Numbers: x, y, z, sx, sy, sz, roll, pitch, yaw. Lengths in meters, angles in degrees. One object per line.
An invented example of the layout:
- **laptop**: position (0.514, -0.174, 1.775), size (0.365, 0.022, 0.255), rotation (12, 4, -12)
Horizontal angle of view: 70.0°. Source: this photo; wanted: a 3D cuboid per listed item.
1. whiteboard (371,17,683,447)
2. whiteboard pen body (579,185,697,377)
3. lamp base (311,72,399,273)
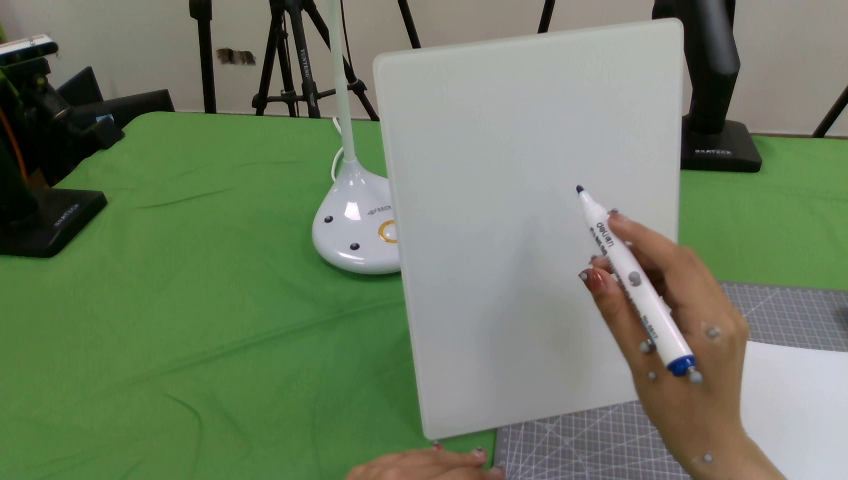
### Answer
- **whiteboard**: position (0.080, -0.014, 0.514), size (0.217, 0.307, 0.143), rotation (-9, 20, -6)
- **whiteboard pen body**: position (0.122, 0.017, 0.360), size (0.017, 0.017, 0.139), rotation (-11, 53, -9)
- **lamp base**: position (-0.063, -0.082, 0.665), size (0.161, 0.182, 0.177), rotation (-28, 42, -27)
